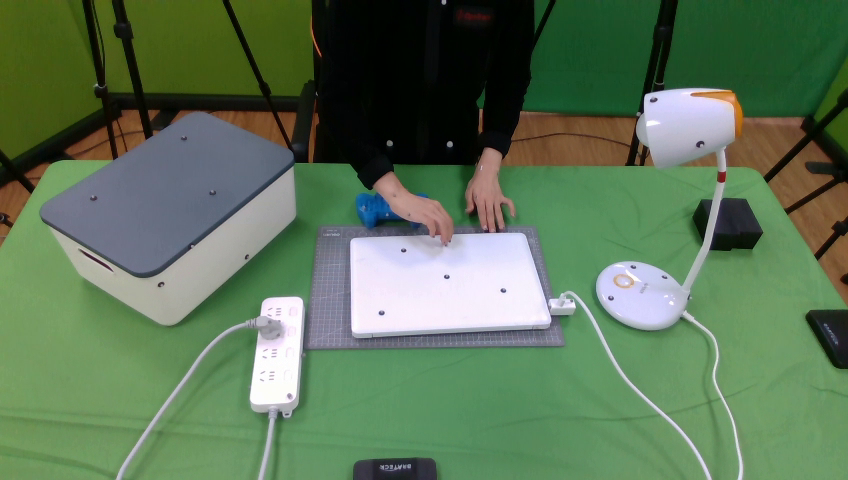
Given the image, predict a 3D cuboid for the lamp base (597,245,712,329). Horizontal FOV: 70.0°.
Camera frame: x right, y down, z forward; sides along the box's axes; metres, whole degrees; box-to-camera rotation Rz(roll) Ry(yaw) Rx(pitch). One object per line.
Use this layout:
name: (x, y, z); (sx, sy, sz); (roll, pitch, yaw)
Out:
lamp base: (0.418, 0.051, 1.072); (0.179, 0.181, 0.160); (22, 49, 13)

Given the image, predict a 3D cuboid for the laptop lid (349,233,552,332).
laptop lid: (0.040, 0.070, 1.118); (0.357, 0.013, 0.240); (-1, 44, -5)

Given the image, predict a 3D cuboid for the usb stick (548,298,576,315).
usb stick: (0.240, 0.120, 1.086); (0.059, 0.027, 0.021); (-2, 51, -2)

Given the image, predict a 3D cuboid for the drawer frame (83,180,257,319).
drawer frame: (-0.454, 0.010, 1.099); (0.201, 0.083, 0.213); (27, 54, 23)

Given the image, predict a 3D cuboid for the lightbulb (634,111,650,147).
lightbulb: (0.348, -0.163, 0.852); (0.059, 0.060, 0.107); (-36, 19, -32)

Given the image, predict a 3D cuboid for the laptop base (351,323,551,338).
laptop base: (0.040, 0.080, 1.125); (0.355, 0.023, 0.234); (-2, 43, -6)

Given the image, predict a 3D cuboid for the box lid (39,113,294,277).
box lid: (-0.435, -0.096, 1.056); (0.262, 0.015, 0.370); (25, 48, 18)

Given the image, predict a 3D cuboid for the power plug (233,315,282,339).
power plug: (-0.271, 0.144, 0.999); (0.072, 0.053, 0.035); (6, 47, 3)

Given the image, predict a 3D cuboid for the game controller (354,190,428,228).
game controller: (-0.066, -0.072, 1.243); (0.155, 0.052, 0.096); (0, 49, -4)

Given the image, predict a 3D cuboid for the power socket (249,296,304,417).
power socket: (-0.239, 0.182, 0.996); (0.072, 0.033, 0.225); (-2, 47, -5)

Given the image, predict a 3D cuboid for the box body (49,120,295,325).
box body: (-0.437, -0.046, 1.110); (0.253, 0.161, 0.363); (24, 49, 19)

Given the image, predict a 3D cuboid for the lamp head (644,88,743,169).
lamp head: (0.380, -0.161, 0.851); (0.122, 0.113, 0.112); (-4, 42, 25)
